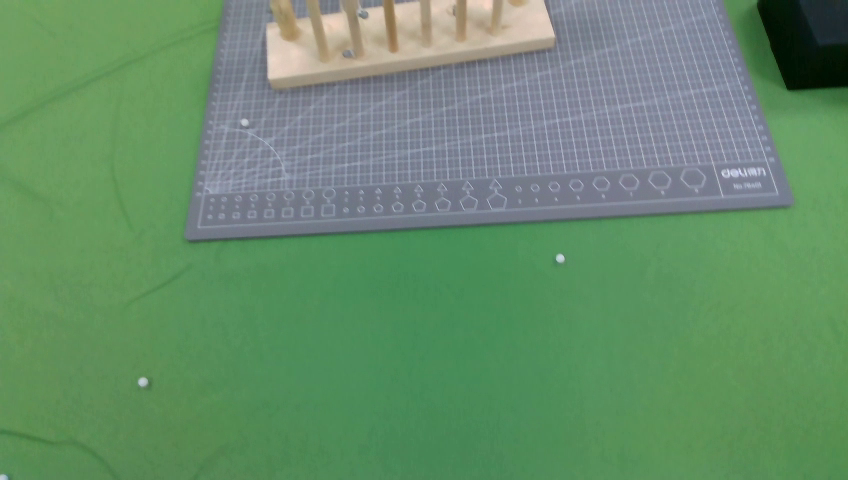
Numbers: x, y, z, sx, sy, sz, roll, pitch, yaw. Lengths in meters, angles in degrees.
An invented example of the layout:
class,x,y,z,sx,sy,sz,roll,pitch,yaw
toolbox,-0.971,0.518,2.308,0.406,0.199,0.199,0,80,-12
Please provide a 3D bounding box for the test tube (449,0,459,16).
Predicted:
class,x,y,z,sx,sy,sz,roll,pitch,yaw
test tube,0.023,-0.238,0.463,0.017,0.151,0.017,-3,57,5

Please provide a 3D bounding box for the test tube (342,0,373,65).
class,x,y,z,sx,sy,sz,roll,pitch,yaw
test tube,-0.056,-0.189,0.449,0.017,0.152,0.017,-2,60,4

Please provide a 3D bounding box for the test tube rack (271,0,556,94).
class,x,y,z,sx,sy,sz,roll,pitch,yaw
test tube rack,-0.014,-0.190,0.497,0.242,0.086,0.066,-9,61,-1
